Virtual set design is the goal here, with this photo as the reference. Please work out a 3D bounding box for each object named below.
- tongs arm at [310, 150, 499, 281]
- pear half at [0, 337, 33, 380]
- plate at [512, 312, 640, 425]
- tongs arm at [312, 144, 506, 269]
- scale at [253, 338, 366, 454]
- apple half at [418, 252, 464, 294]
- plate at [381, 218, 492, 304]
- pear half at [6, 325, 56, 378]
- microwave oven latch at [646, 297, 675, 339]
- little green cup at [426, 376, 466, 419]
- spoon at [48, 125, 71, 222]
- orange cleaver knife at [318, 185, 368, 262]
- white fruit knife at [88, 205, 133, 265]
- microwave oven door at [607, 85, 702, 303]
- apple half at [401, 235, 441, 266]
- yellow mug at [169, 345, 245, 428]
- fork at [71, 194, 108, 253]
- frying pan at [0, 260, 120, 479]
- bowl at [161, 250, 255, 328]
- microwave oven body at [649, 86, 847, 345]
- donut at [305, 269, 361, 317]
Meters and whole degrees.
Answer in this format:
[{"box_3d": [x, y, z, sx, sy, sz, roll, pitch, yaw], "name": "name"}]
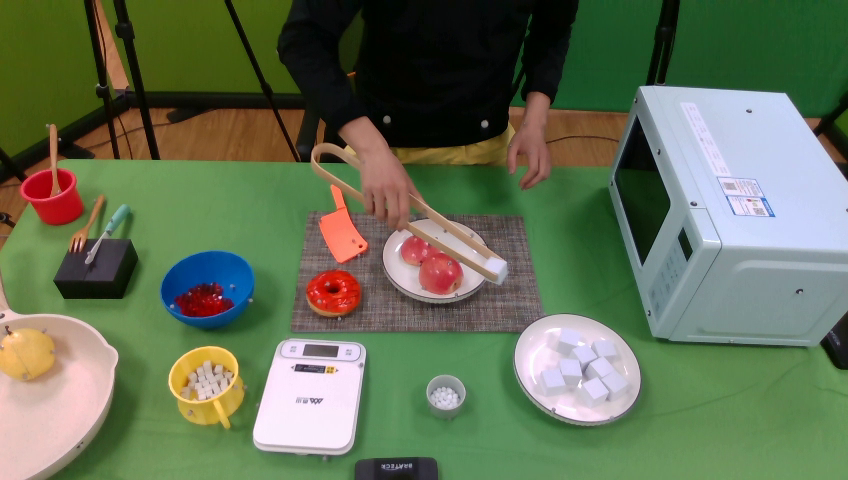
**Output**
[{"box_3d": [-0.039, -0.038, 1.035, 0.387, 0.028, 0.028, 32, 64, 4], "name": "tongs arm"}, {"box_3d": [-0.631, 0.184, 0.921, 0.070, 0.088, 0.031, 29, 49, 19], "name": "pear half"}, {"box_3d": [0.246, 0.213, 0.999, 0.208, 0.039, 0.206, 2, 46, -2], "name": "plate"}, {"box_3d": [-0.029, -0.054, 1.047, 0.384, 0.026, 0.050, 36, 60, 6], "name": "tongs arm"}, {"box_3d": [-0.175, 0.236, 0.951, 0.149, 0.032, 0.199, 5, 45, -1], "name": "scale"}, {"box_3d": [0.033, 0.055, 1.109, 0.081, 0.053, 0.074, -31, 59, -28], "name": "apple half"}, {"box_3d": [0.023, 0.042, 1.144, 0.209, 0.038, 0.208, 2, 46, -2], "name": "plate"}, {"box_3d": [-0.608, 0.158, 0.935, 0.076, 0.110, 0.056, 31, 51, 20], "name": "pear half"}, {"box_3d": [0.412, 0.134, 1.061, 0.030, 0.029, 0.078, 4, 45, 1], "name": "microwave oven latch"}, {"box_3d": [0.033, 0.248, 0.950, 0.061, 0.039, 0.061, 2, 46, -2], "name": "little green cup"}, {"box_3d": [-0.718, -0.131, 1.188, 0.041, 0.021, 0.193, -3, 90, -7], "name": "spoon"}, {"box_3d": [-0.173, -0.037, 1.219, 0.077, 0.012, 0.210, -16, 50, -12], "name": "orange cleaver knife"}, {"box_3d": [-0.584, -0.013, 1.129, 0.016, 0.027, 0.206, -1, 32, -4], "name": "white fruit knife"}, {"box_3d": [0.423, -0.094, 1.140, 0.039, 0.245, 0.353, 2, 46, -1], "name": "microwave oven door"}, {"box_3d": [-0.006, 0.014, 1.159, 0.081, 0.033, 0.081, 6, 44, -5], "name": "apple half"}, {"box_3d": [-0.322, 0.230, 0.922, 0.100, 0.064, 0.130, -24, 53, -25], "name": "yellow mug"}, {"box_3d": [-0.634, -0.036, 1.158, 0.028, 0.019, 0.206, -8, 31, -8], "name": "fork"}, {"box_3d": [-0.647, 0.164, 0.936, 0.307, 0.103, 0.485, -19, 58, -22], "name": "frying pan"}, {"box_3d": [-0.362, 0.098, 1.039, 0.151, 0.077, 0.150, 2, 45, -2], "name": "bowl"}, {"box_3d": [0.567, -0.053, 1.118, 0.326, 0.261, 0.439, 2, 45, -1], "name": "microwave oven body"}, {"box_3d": [-0.160, 0.094, 1.075, 0.099, 0.048, 0.098, 3, 45, -3], "name": "donut"}]
